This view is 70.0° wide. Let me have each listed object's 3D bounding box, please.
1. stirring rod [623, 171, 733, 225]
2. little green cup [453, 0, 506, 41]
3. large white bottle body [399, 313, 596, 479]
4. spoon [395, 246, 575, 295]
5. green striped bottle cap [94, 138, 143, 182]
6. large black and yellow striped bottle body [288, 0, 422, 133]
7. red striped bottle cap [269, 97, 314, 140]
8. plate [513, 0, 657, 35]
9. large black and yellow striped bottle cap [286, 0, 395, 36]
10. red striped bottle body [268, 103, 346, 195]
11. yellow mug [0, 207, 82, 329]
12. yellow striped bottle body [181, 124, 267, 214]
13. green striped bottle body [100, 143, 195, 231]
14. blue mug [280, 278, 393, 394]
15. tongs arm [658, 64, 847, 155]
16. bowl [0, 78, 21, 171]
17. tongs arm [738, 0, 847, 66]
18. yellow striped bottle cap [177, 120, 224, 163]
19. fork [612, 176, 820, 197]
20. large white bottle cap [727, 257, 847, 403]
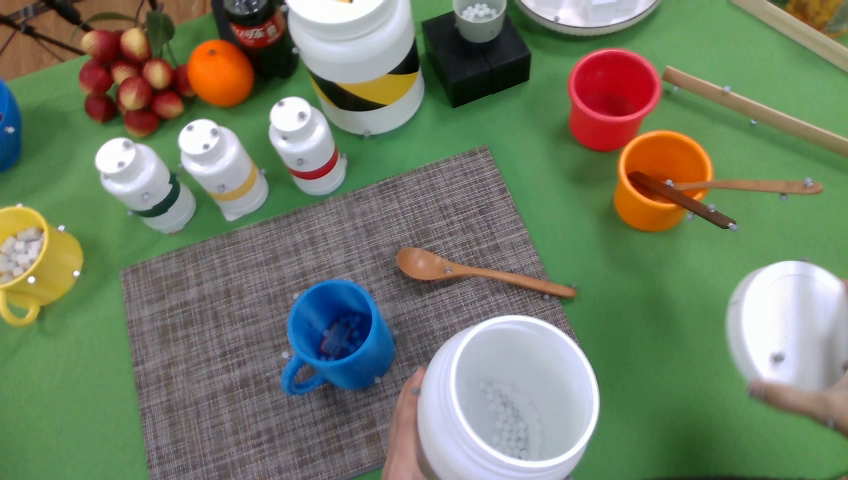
[{"bbox_3d":[0.246,-0.045,0.603,0.014,0.006,0.174,-17,23,-5],"label":"stirring rod"},{"bbox_3d":[0.065,-0.267,0.713,0.061,0.039,0.061,-1,64,3],"label":"little green cup"},{"bbox_3d":[0.054,0.144,0.496,0.131,0.186,0.129,5,60,-8],"label":"large white bottle body"},{"bbox_3d":[0.064,0.036,0.643,0.193,0.022,0.041,9,47,9],"label":"spoon"},{"bbox_3d":[-0.315,-0.082,0.624,0.044,0.020,0.044,-2,65,4],"label":"green striped bottle cap"},{"bbox_3d":[-0.076,-0.222,0.683,0.130,0.185,0.130,-2,66,5],"label":"large black and yellow striped bottle body"},{"bbox_3d":[-0.137,-0.126,0.625,0.044,0.018,0.044,-1,64,2],"label":"red striped bottle cap"},{"bbox_3d":[0.207,-0.346,0.789,0.209,0.038,0.207,-2,67,5],"label":"plate"},{"bbox_3d":[-0.083,-0.255,0.604,0.115,0.019,0.114,-3,69,7],"label":"large black and yellow striped bottle cap"},{"bbox_3d":[-0.131,-0.105,0.673,0.063,0.120,0.062,-3,66,7],"label":"red striped bottle body"},{"bbox_3d":[-0.449,0.035,0.673,0.100,0.064,0.130,-11,67,1],"label":"yellow mug"},{"bbox_3d":[-0.224,-0.082,0.672,0.063,0.121,0.062,-2,66,6],"label":"yellow striped bottle body"},{"bbox_3d":[-0.309,-0.062,0.672,0.063,0.120,0.062,-2,66,5],"label":"green striped bottle body"},{"bbox_3d":[-0.090,0.104,0.583,0.116,0.107,0.082,-44,69,-13],"label":"blue mug"},{"bbox_3d":[0.453,-0.127,0.672,0.383,0.027,0.050,30,69,16],"label":"tongs arm"},{"bbox_3d":[-0.561,-0.131,0.748,0.151,0.077,0.150,-2,67,4],"label":"bowl"},{"bbox_3d":[0.510,-0.192,0.698,0.028,0.028,0.384,-37,68,-18],"label":"tongs arm"},{"bbox_3d":[-0.230,-0.102,0.624,0.044,0.019,0.044,-1,62,2],"label":"yellow striped bottle cap"},{"bbox_3d":[0.274,-0.054,0.595,0.028,0.206,0.019,-40,113,-25],"label":"fork"},{"bbox_3d":[0.293,0.068,0.473,0.115,0.018,0.114,3,72,-10],"label":"large white bottle cap"}]
